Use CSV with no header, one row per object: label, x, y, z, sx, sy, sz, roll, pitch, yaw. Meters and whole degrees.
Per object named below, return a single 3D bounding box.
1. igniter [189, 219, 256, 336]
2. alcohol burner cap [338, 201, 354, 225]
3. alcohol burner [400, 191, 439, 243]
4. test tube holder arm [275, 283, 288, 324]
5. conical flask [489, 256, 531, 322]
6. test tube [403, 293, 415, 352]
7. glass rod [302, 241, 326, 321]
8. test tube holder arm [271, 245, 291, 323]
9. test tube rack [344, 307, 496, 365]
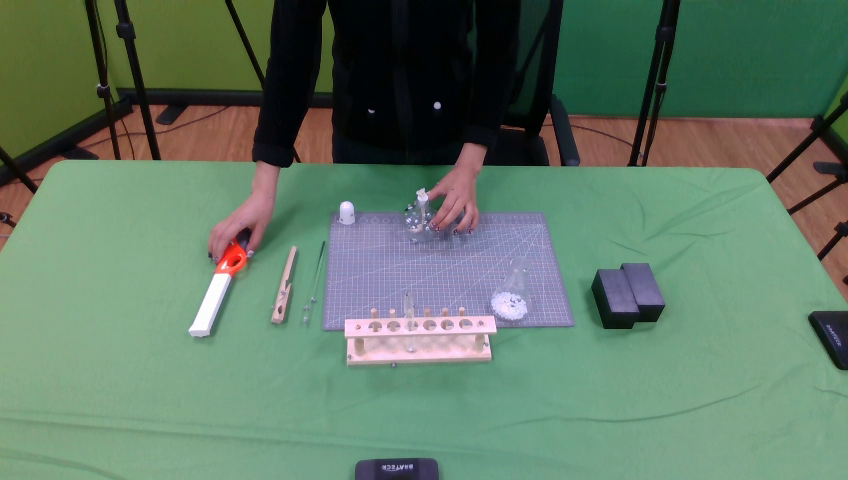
igniter,-0.364,0.058,1.110,0.057,0.025,0.275,-1,45,9
alcohol burner cap,-0.159,-0.056,1.224,0.034,0.048,0.033,2,47,-2
alcohol burner,-0.007,-0.052,1.183,0.078,0.119,0.077,3,47,-3
test tube holder arm,-0.254,0.110,1.077,0.010,0.015,0.087,30,37,-28
conical flask,0.158,0.081,1.061,0.075,0.122,0.075,2,46,-2
test tube,-0.024,0.133,0.957,0.017,0.151,0.017,0,48,0
glass rod,-0.203,0.071,1.124,0.008,0.008,0.198,4,44,1
test tube holder arm,-0.260,0.076,1.106,0.013,0.015,0.177,29,38,-30
test tube rack,-0.009,0.154,1.007,0.242,0.085,0.066,-1,46,-5
